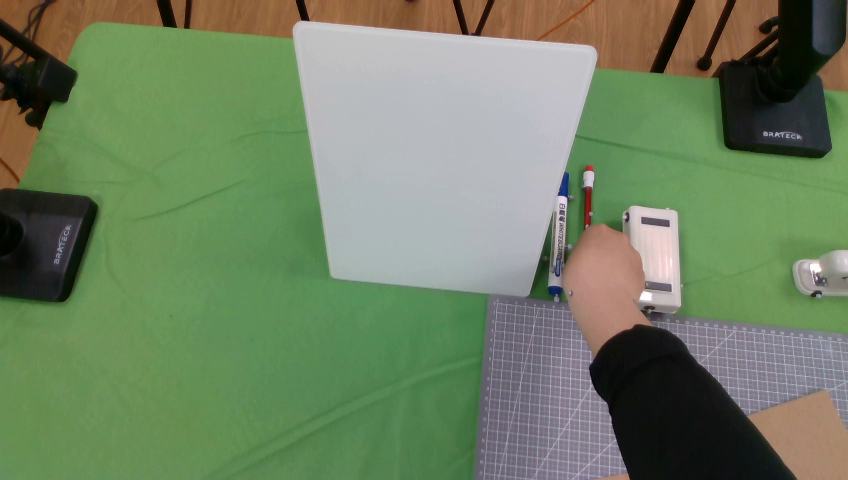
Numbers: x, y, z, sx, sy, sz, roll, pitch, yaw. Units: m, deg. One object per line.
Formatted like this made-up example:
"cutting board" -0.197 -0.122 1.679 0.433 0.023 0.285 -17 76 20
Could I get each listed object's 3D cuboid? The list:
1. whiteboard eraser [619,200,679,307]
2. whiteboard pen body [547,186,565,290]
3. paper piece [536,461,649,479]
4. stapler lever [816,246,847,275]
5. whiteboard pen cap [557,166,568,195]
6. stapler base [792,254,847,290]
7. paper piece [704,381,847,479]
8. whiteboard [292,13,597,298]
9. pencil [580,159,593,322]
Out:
"whiteboard eraser" 0.239 0.015 0.647 0.055 0.042 0.112 6 70 3
"whiteboard pen body" 0.146 -0.014 0.668 0.017 0.017 0.140 6 71 2
"paper piece" 0.160 0.286 0.561 0.135 0.004 0.134 -8 71 -4
"stapler lever" 0.470 0.024 0.631 0.118 0.040 0.026 1 72 -1
"whiteboard pen cap" 0.156 -0.067 0.688 0.018 0.018 0.033 5 68 2
"stapler base" 0.468 0.032 0.653 0.131 0.024 0.041 1 72 -2
"paper piece" 0.361 0.223 0.587 0.136 0.009 0.137 -16 73 -2
"whiteboard" 0.016 -0.099 0.579 0.217 0.308 0.142 6 50 2
"pencil" 0.178 -0.003 0.668 0.012 0.012 0.193 6 70 2
